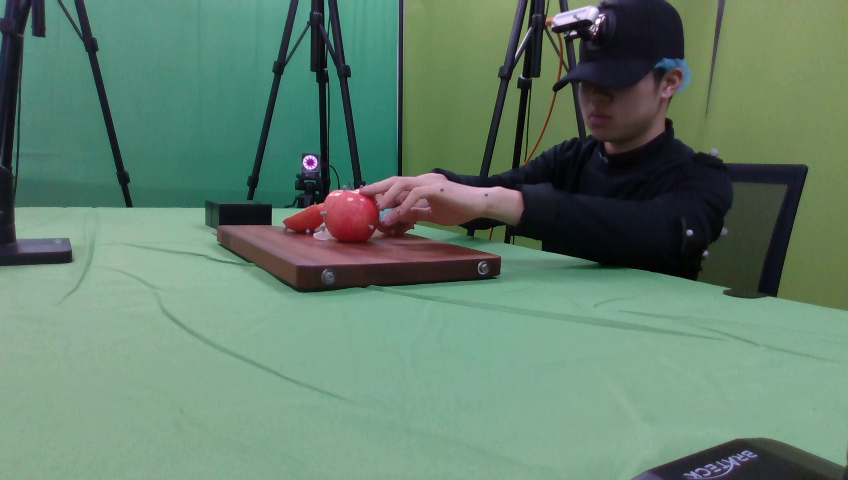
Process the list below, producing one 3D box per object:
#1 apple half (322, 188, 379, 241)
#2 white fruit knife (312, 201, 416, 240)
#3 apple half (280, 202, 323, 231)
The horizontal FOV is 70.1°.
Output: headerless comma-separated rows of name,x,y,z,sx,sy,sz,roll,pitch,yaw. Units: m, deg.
apple half,-0.095,-0.035,0.841,0.081,0.074,0.053,-1,11,-43
white fruit knife,-0.084,-0.029,0.904,0.016,0.027,0.208,10,20,40
apple half,-0.175,-0.033,0.927,0.081,0.033,0.081,-21,0,0
